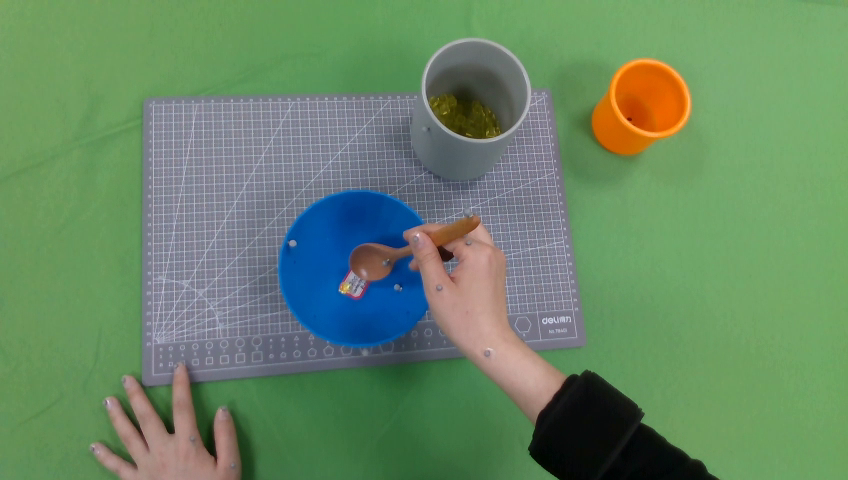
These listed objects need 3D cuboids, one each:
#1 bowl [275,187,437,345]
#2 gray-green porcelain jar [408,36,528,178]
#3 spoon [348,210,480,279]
[{"bbox_3d":[-0.066,0.030,0.596,0.152,0.077,0.150,2,78,-8],"label":"bowl"},{"bbox_3d":[0.039,-0.127,0.620,0.106,0.127,0.105,2,77,-7],"label":"gray-green porcelain jar"},{"bbox_3d":[-0.014,0.005,0.532,0.021,0.193,0.042,-39,101,-33],"label":"spoon"}]
